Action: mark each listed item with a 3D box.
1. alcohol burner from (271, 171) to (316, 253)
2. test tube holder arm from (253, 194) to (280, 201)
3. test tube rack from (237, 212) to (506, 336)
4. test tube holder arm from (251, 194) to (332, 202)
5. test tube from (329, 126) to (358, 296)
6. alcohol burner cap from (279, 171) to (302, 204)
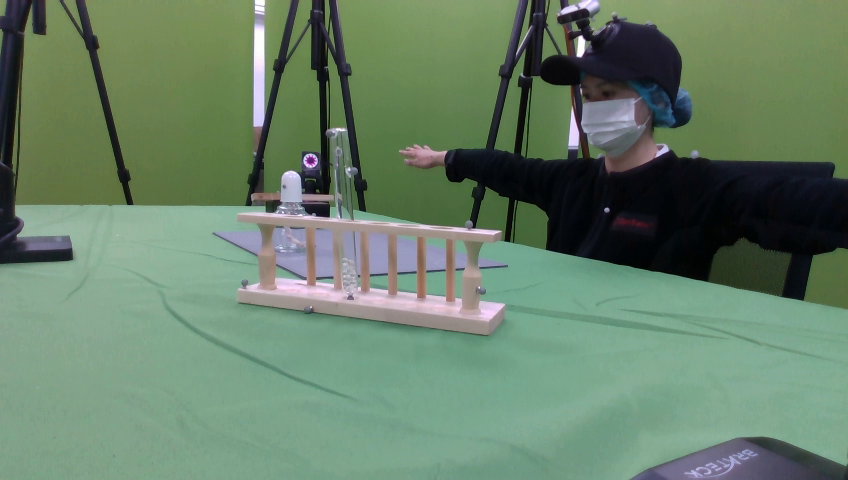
[{"bbox_3d":[-0.196,-0.041,0.884,0.078,0.119,0.078,3,5,0],"label":"alcohol burner"},{"bbox_3d":[-0.297,-0.084,1.202,0.088,0.015,0.010,-3,4,-41],"label":"test tube holder arm"},{"bbox_3d":[-0.049,0.024,0.552,0.242,0.085,0.067,5,8,19],"label":"test tube rack"},{"bbox_3d":[-0.267,-0.085,1.236,0.179,0.015,0.013,-3,4,-42],"label":"test tube holder arm"},{"bbox_3d":[-0.071,-0.025,0.535,0.017,0.150,0.017,-3,8,1],"label":"test tube"},{"bbox_3d":[-0.195,-0.077,0.880,0.034,0.048,0.034,1,6,0],"label":"alcohol burner cap"}]
